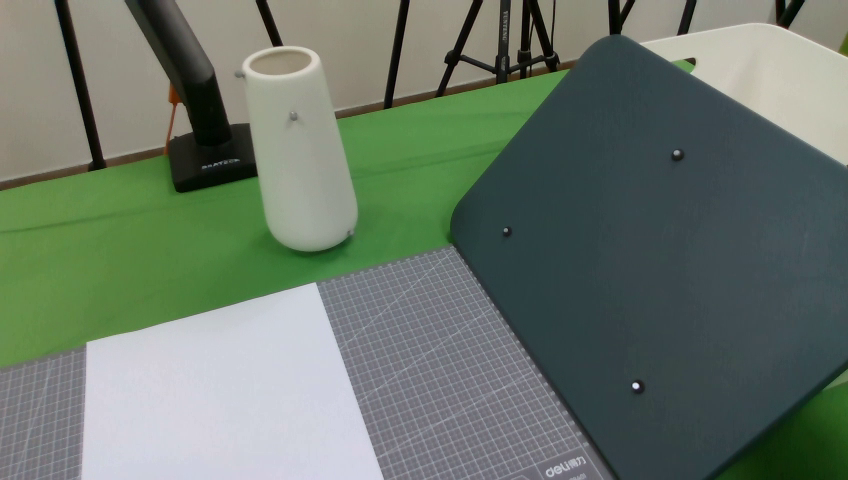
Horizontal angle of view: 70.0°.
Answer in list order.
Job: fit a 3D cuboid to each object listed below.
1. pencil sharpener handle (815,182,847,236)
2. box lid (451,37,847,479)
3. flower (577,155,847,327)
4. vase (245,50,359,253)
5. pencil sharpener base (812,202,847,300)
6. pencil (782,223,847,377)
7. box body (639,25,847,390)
[{"bbox_3d":[0.395,-0.036,0.572,0.036,0.068,0.030,-18,43,-14],"label":"pencil sharpener handle"},{"bbox_3d":[0.173,-0.004,0.508,0.015,0.263,0.367,26,22,-40],"label":"box lid"},{"bbox_3d":[0.307,0.008,0.622,0.358,0.038,0.044,39,19,31],"label":"flower"},{"bbox_3d":[-0.123,-0.083,0.611,0.098,0.202,0.097,-2,40,2],"label":"vase"},{"bbox_3d":[0.414,0.004,0.544,0.061,0.108,0.076,-16,42,-16],"label":"pencil sharpener base"},{"bbox_3d":[0.373,0.052,0.576,0.012,0.012,0.192,3,46,7],"label":"pencil"},{"bbox_3d":[0.338,-0.054,0.584,0.255,0.162,0.359,-15,42,-14],"label":"box body"}]
